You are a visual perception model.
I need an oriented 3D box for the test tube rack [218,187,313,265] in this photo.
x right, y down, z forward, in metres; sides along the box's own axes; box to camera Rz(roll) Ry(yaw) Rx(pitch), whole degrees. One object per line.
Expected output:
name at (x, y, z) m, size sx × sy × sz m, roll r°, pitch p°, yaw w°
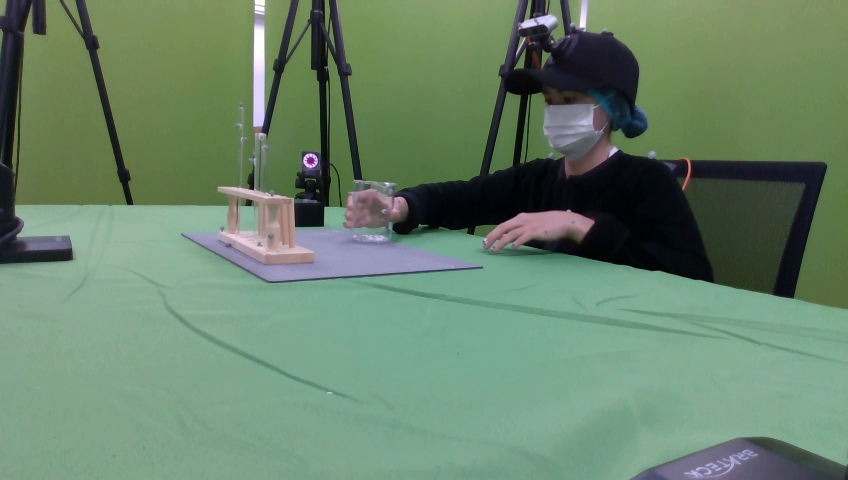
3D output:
test tube rack at (-0.235, -0.027, 0.872) m, size 0.067 × 0.085 × 0.241 m, roll -2°, pitch 8°, yaw -32°

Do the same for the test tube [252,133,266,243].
test tube at (-0.225, -0.070, 0.826) m, size 0.017 × 0.150 × 0.017 m, roll 2°, pitch 2°, yaw 0°

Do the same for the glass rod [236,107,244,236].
glass rod at (-0.282, -0.103, 0.924) m, size 0.008 × 0.199 × 0.008 m, roll 2°, pitch 2°, yaw 0°

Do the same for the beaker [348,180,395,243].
beaker at (-0.087, -0.048, 1.005) m, size 0.074 × 0.100 × 0.083 m, roll 1°, pitch 7°, yaw -28°
